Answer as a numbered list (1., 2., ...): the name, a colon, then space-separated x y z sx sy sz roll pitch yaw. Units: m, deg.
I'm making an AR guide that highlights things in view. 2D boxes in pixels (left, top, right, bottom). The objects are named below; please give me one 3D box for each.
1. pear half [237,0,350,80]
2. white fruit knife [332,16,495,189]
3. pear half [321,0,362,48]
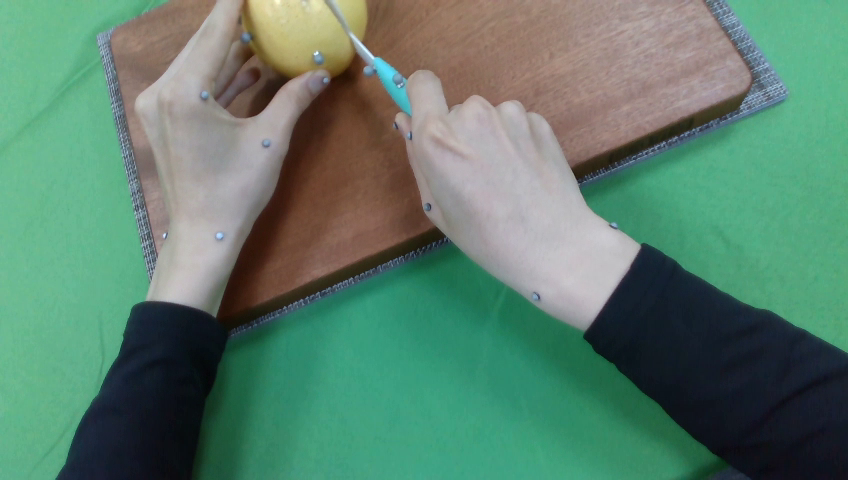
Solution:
1. pear half: -0.093 -0.145 0.384 0.076 0.111 0.056 40 83 23
2. white fruit knife: -0.027 -0.106 0.381 0.016 0.027 0.205 -40 68 -4
3. pear half: -0.063 -0.169 0.397 0.031 0.089 0.070 -43 64 -10
